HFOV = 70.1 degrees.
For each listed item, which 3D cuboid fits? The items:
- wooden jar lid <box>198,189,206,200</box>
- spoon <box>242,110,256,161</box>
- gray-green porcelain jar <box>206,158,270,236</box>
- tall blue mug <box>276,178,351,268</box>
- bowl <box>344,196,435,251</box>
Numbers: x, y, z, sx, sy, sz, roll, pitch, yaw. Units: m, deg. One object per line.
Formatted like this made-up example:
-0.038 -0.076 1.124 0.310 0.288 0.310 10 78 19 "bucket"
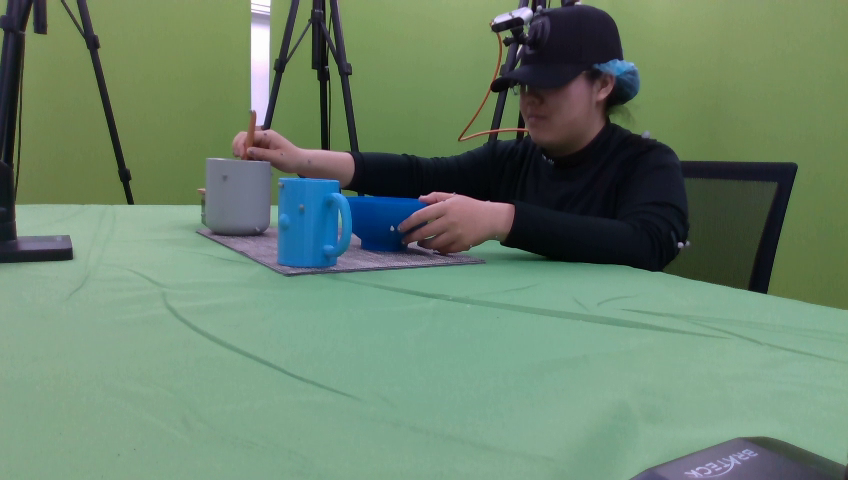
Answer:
-0.382 -0.088 1.175 0.108 0.020 0.108 3 8 0 "wooden jar lid"
-0.314 -0.129 1.044 0.021 0.193 0.042 26 12 29 "spoon"
-0.317 -0.074 1.031 0.106 0.126 0.106 3 7 0 "gray-green porcelain jar"
-0.134 -0.022 0.766 0.107 0.108 0.078 4 6 12 "tall blue mug"
-0.061 -0.026 0.944 0.151 0.077 0.151 3 7 0 "bowl"
